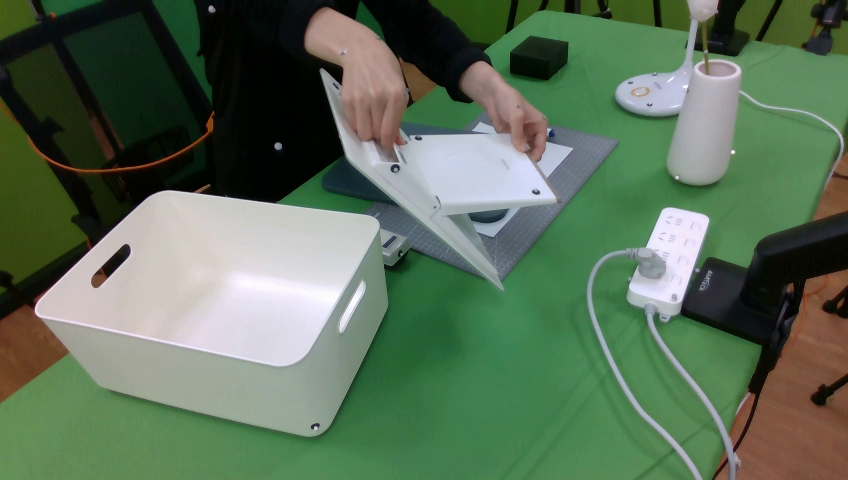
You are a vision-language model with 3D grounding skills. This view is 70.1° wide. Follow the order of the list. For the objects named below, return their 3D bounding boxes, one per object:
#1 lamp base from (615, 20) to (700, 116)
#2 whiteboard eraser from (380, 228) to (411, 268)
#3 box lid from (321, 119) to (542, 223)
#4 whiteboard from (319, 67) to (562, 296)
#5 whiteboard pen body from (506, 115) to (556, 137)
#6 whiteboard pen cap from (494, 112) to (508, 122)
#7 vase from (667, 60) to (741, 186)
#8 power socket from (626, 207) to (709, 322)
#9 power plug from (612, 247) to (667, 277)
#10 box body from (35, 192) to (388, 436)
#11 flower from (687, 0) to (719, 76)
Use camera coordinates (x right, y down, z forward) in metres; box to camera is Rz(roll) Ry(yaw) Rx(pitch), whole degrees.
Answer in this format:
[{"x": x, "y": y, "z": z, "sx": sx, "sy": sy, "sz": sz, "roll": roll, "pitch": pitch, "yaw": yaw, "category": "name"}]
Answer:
[{"x": 0.484, "y": -0.364, "z": 1.211, "sx": 0.180, "sy": 0.181, "sz": 0.159, "roll": -15, "pitch": 41, "yaw": -14, "category": "lamp base"}, {"x": -0.081, "y": 0.008, "z": 0.964, "sx": 0.112, "sy": 0.042, "sz": 0.056, "roll": 19, "pitch": 48, "yaw": 27, "category": "whiteboard eraser"}, {"x": 0.017, "y": -0.141, "z": 1.145, "sx": 0.369, "sy": 0.015, "sz": 0.263, "roll": 12, "pitch": 44, "yaw": 22, "category": "box lid"}, {"x": 0.037, "y": -0.109, "z": 0.748, "sx": 0.143, "sy": 0.308, "sz": 0.215, "roll": -37, "pitch": 41, "yaw": 15, "category": "whiteboard"}, {"x": 0.203, "y": -0.232, "z": 1.213, "sx": 0.139, "sy": 0.017, "sz": 0.017, "roll": 27, "pitch": 51, "yaw": 36, "category": "whiteboard pen body"}, {"x": 0.161, "y": -0.253, "z": 1.248, "sx": 0.033, "sy": 0.018, "sz": 0.018, "roll": 29, "pitch": 52, "yaw": 36, "category": "whiteboard pen cap"}, {"x": 0.463, "y": -0.189, "z": 0.994, "sx": 0.098, "sy": 0.201, "sz": 0.097, "roll": -4, "pitch": 40, "yaw": 4, "category": "vase"}, {"x": 0.360, "y": 0.026, "z": 0.886, "sx": 0.072, "sy": 0.033, "sz": 0.227, "roll": 17, "pitch": 46, "yaw": 26, "category": "power socket"}, {"x": 0.306, "y": 0.031, "z": 0.852, "sx": 0.072, "sy": 0.053, "sz": 0.035, "roll": 21, "pitch": 48, "yaw": 37, "category": "power plug"}, {"x": -0.251, "y": 0.088, "z": 0.800, "sx": 0.362, "sy": 0.161, "sz": 0.254, "roll": 7, "pitch": 42, "yaw": 16, "category": "box body"}, {"x": 0.436, "y": -0.242, "z": 0.934, "sx": 0.038, "sy": 0.364, "sz": 0.043, "roll": -24, "pitch": 49, "yaw": 8, "category": "flower"}]
